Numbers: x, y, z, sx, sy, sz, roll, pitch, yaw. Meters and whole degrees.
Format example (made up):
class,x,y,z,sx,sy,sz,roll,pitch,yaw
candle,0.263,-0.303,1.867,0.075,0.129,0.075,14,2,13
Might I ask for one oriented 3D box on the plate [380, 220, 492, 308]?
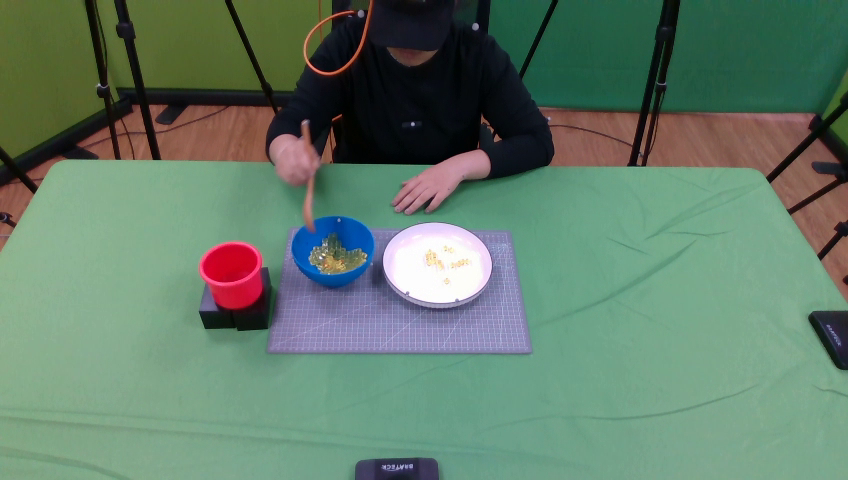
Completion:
class,x,y,z,sx,sy,sz,roll,pitch,yaw
plate,0.022,0.048,1.137,0.208,0.039,0.206,2,46,-2

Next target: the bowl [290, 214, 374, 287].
class,x,y,z,sx,sy,sz,roll,pitch,yaw
bowl,-0.165,0.032,1.111,0.151,0.077,0.150,2,46,-2

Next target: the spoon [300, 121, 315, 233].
class,x,y,z,sx,sy,sz,roll,pitch,yaw
spoon,-0.200,-0.106,1.039,0.022,0.194,0.041,-3,13,-20
